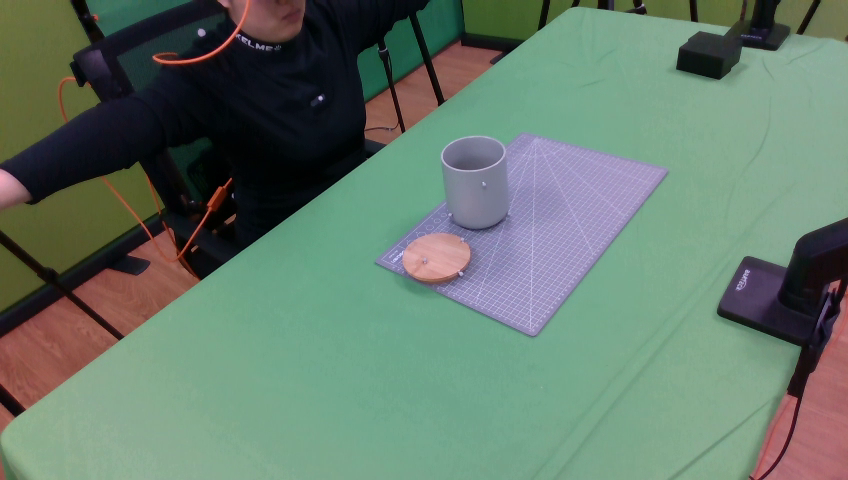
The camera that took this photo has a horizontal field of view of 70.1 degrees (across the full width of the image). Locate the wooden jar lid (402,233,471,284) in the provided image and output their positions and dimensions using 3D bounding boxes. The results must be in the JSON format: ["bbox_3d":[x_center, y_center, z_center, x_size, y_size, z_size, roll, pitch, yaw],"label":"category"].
[{"bbox_3d":[0.020,0.030,0.941,0.108,0.021,0.108,-4,40,4],"label":"wooden jar lid"}]

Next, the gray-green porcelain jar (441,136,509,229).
[{"bbox_3d":[0.086,-0.090,0.988,0.106,0.127,0.105,-5,40,5],"label":"gray-green porcelain jar"}]
